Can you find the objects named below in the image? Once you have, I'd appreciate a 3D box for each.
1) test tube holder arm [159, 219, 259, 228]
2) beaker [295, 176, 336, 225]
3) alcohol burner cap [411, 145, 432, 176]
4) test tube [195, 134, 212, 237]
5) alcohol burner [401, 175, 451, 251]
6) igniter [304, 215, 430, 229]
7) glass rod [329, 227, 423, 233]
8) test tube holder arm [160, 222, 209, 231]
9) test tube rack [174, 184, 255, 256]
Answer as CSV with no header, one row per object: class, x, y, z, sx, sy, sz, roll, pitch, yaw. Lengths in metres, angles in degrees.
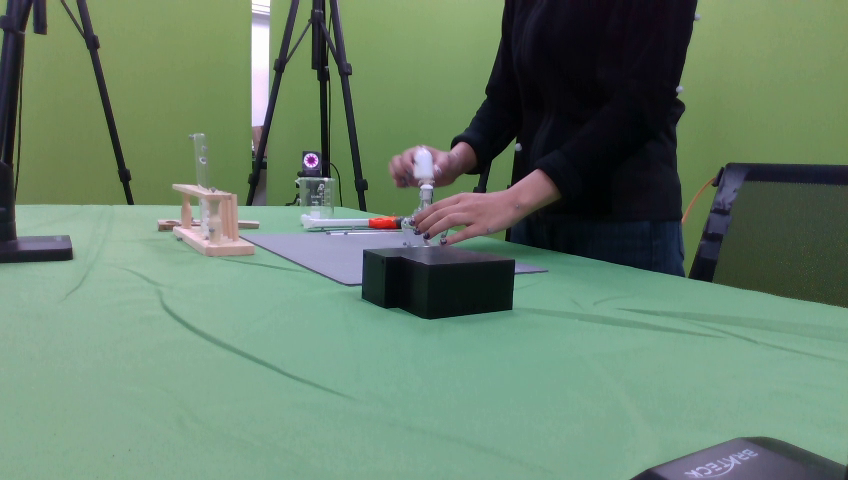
test tube holder arm,-0.390,-0.030,1.107,0.179,0.015,0.013,-3,45,-39
beaker,-0.224,-0.080,1.247,0.084,0.100,0.073,-1,8,-18
alcohol burner cap,-0.004,-0.125,0.947,0.034,0.048,0.034,-1,0,0
test tube,-0.320,-0.079,0.880,0.017,0.150,0.017,-3,3,1
alcohol burner,0.003,-0.042,0.947,0.078,0.119,0.078,1,9,0
igniter,-0.109,-0.037,1.228,0.278,0.025,0.057,-3,-1,-35
glass rod,-0.087,-0.019,1.148,0.201,0.008,0.008,-3,8,-32
test tube holder arm,-0.423,-0.024,1.076,0.088,0.015,0.010,-3,45,-38
test tube rack,-0.327,-0.036,0.928,0.067,0.085,0.241,-2,9,-32
